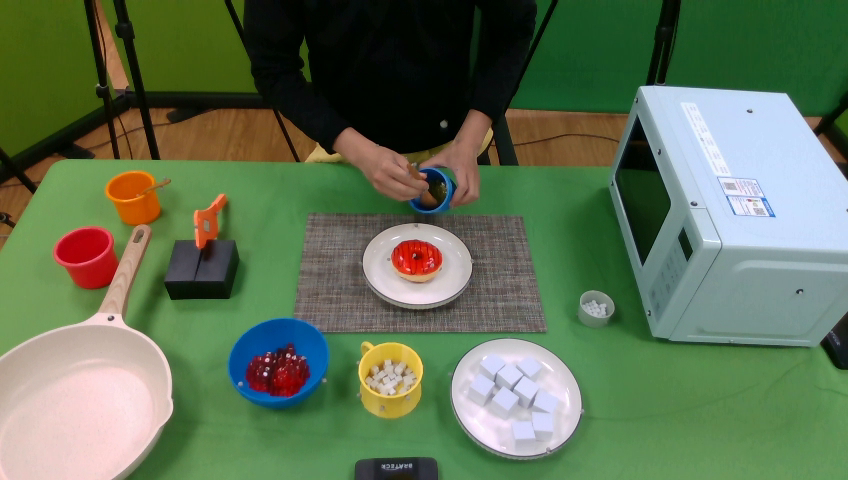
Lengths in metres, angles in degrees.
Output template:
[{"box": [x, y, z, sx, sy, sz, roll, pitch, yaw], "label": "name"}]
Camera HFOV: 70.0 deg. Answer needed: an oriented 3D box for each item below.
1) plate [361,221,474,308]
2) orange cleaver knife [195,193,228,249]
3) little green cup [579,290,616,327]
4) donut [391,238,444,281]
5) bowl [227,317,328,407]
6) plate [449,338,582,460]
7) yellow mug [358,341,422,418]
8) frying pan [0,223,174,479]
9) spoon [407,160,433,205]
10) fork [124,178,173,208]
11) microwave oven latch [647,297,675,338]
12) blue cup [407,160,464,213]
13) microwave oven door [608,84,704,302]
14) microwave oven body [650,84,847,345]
[{"box": [-0.011, 0.049, 1.130, 0.209, 0.038, 0.208, 2, 46, -2], "label": "plate"}, {"box": [-0.406, -0.041, 1.163, 0.012, 0.077, 0.210, 0, 18, -3], "label": "orange cleaver knife"}, {"box": [0.308, 0.124, 1.086, 0.061, 0.039, 0.061, 1, 45, -1], "label": "little green cup"}, {"box": [-0.012, 0.035, 1.128, 0.099, 0.048, 0.098, 3, 43, -3], "label": "donut"}, {"box": [-0.223, 0.203, 0.947, 0.151, 0.077, 0.150, 2, 46, -2], "label": "bowl"}, {"box": [0.141, 0.251, 0.955, 0.208, 0.039, 0.206, 2, 47, -2], "label": "plate"}, {"box": [-0.063, 0.210, 0.961, 0.100, 0.064, 0.130, -29, 54, -28], "label": "yellow mug"}, {"box": [-0.505, 0.169, 0.941, 0.307, 0.103, 0.485, 5, 54, -1], "label": "frying pan"}, {"box": [-0.003, -0.099, 1.064, 0.041, 0.194, 0.021, 5, 71, 16], "label": "spoon"}, {"box": [-0.525, -0.089, 1.153, 0.207, 0.019, 0.028, -18, 27, 45], "label": "fork"}, {"box": [0.413, 0.133, 1.060, 0.030, 0.029, 0.078, 5, 46, 2], "label": "microwave oven latch"}, {"box": [0.029, -0.090, 1.147, 0.092, 0.100, 0.092, -5, 79, 28], "label": "blue cup"}, {"box": [0.424, -0.096, 1.138, 0.039, 0.245, 0.353, 2, 47, -1], "label": "microwave oven door"}, {"box": [0.569, -0.054, 1.115, 0.326, 0.261, 0.439, 2, 46, -1], "label": "microwave oven body"}]
